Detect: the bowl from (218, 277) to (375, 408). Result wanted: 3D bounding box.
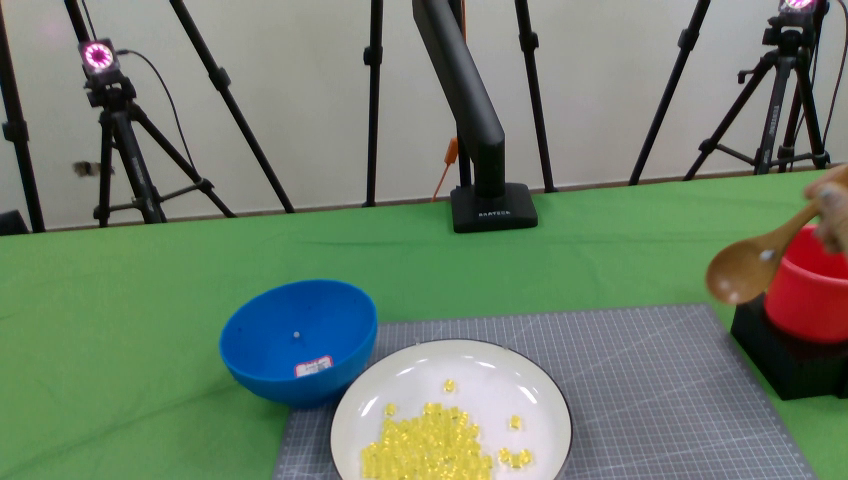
[{"bbox_3d":[-0.118,0.112,0.603,0.151,0.077,0.150,-4,32,3],"label":"bowl"}]

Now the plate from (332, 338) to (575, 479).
[{"bbox_3d":[0.025,0.168,0.531,0.207,0.039,0.206,-4,32,3],"label":"plate"}]

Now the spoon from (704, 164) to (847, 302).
[{"bbox_3d":[0.238,-0.018,0.371,0.022,0.195,0.041,-12,61,-22],"label":"spoon"}]
